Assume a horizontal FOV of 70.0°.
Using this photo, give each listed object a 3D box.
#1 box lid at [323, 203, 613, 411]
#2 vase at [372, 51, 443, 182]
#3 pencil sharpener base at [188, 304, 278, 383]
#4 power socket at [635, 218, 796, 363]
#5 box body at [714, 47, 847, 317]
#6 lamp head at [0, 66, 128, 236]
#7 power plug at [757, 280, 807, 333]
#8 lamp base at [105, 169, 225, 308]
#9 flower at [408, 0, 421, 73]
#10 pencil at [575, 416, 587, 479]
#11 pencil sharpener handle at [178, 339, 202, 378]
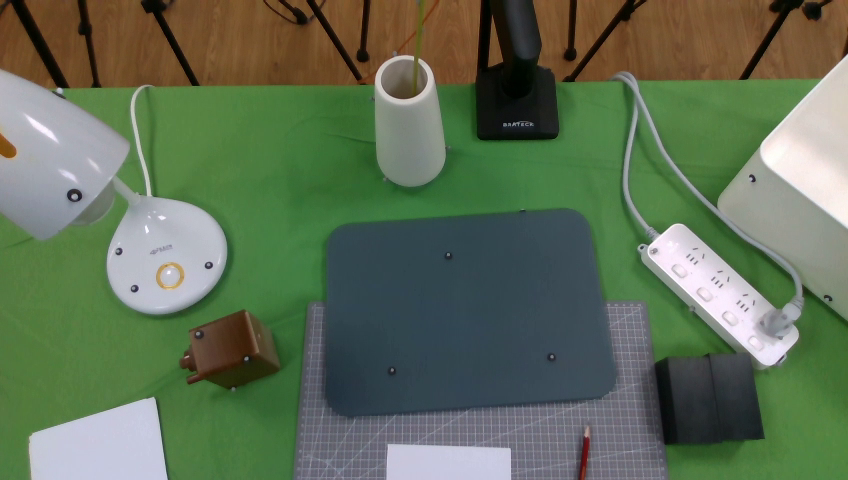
[{"bbox_3d":[0.052,0.081,0.802,0.372,0.015,0.261,-4,69,-1],"label":"box lid"},{"bbox_3d":[-0.022,-0.156,0.792,0.098,0.201,0.097,0,68,0],"label":"vase"},{"bbox_3d":[-0.232,0.129,0.737,0.077,0.108,0.061,-20,70,-6],"label":"pencil sharpener base"},{"bbox_3d":[0.380,0.063,0.793,0.072,0.033,0.225,-39,73,-13],"label":"power socket"},{"bbox_3d":[0.593,-0.040,0.759,0.254,0.161,0.362,-42,74,-14],"label":"box body"},{"bbox_3d":[-0.324,-0.082,0.484,0.112,0.124,0.111,-29,35,23],"label":"lamp head"},{"bbox_3d":[0.451,0.089,0.758,0.072,0.053,0.035,-27,68,-13],"label":"power plug"},{"bbox_3d":[-0.360,-0.022,0.756,0.160,0.181,0.178,-30,69,-10],"label":"lamp base"},{"bbox_3d":[-0.015,-0.199,0.720,0.044,0.364,0.038,-21,57,-23],"label":"flower"},{"bbox_3d":[0.178,0.305,0.714,0.012,0.012,0.193,11,72,6],"label":"pencil"},{"bbox_3d":[-0.279,0.145,0.719,0.030,0.068,0.035,-20,58,-6],"label":"pencil sharpener handle"}]
